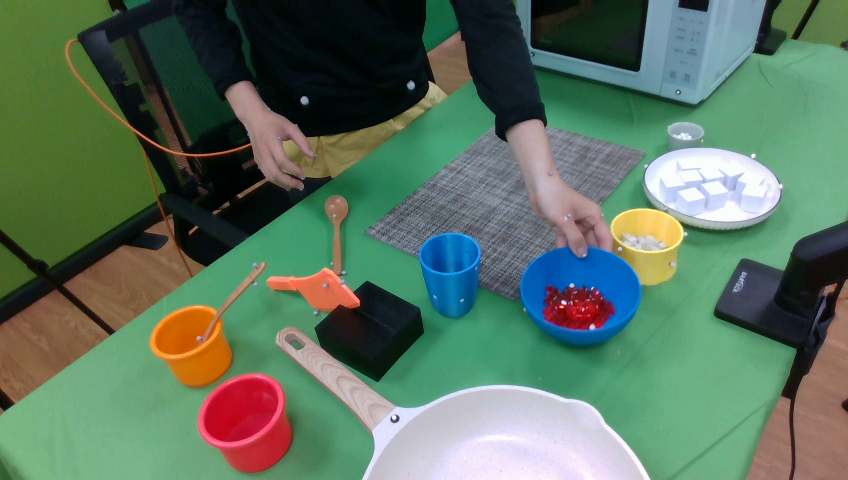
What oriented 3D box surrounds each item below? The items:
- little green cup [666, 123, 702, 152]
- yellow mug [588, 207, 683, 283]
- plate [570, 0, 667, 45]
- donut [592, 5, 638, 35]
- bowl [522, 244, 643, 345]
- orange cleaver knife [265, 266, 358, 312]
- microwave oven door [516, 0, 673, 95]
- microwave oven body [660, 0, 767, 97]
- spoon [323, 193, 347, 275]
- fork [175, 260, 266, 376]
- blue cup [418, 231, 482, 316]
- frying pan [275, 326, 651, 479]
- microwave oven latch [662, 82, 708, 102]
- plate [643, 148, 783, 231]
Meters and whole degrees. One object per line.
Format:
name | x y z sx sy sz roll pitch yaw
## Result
little green cup | 0.472 -0.183 1.103 0.061 0.039 0.061 -5 41 5
yellow mug | 0.305 0.008 0.884 0.131 0.064 0.099 -4 41 5
plate | 0.436 -0.490 1.368 0.209 0.038 0.208 -6 40 5
donut | 0.428 -0.492 1.352 0.099 0.048 0.098 -6 40 6
bowl | 0.205 0.084 0.793 0.151 0.077 0.150 -6 42 6
orange cleaver knife | -0.164 0.073 0.864 0.210 0.077 0.012 -6 30 50
microwave oven door | 0.344 -0.458 1.256 0.353 0.245 0.039 26 52 33
microwave oven body | 0.473 -0.517 1.313 0.438 0.261 0.327 26 51 34
spoon | -0.148 -0.014 1.008 0.042 0.022 0.192 1 40 -9
fork | -0.268 0.103 0.792 0.207 0.019 0.028 -51 41 16
blue cup | 0.039 0.053 0.843 0.092 0.100 0.092 -4 43 4
frying pan | 0.004 0.229 0.641 0.484 0.103 0.308 34 54 28
microwave oven latch | 0.518 -0.299 1.203 0.078 0.029 0.030 29 53 35
plate | 0.464 -0.080 0.985 0.207 0.039 0.206 -4 41 4
